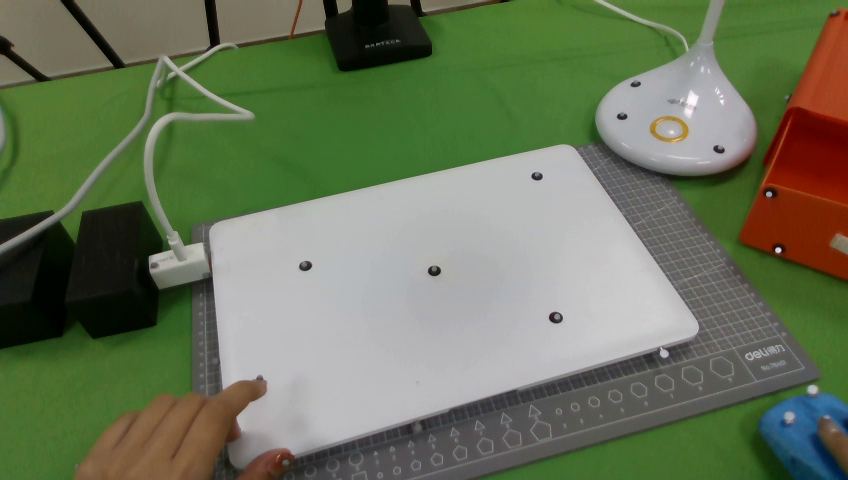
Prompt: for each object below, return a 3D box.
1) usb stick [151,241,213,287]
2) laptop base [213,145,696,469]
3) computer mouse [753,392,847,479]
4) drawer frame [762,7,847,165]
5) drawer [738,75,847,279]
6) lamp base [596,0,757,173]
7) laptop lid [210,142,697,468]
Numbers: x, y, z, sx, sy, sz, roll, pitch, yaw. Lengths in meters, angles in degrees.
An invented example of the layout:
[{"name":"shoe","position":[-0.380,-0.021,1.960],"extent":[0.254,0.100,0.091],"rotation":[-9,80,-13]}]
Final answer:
[{"name":"usb stick","position":[-0.196,0.018,0.512],"extent":[0.059,0.027,0.021],"rotation":[-14,48,-15]},{"name":"laptop base","position":[0.010,0.033,0.507],"extent":[0.355,0.023,0.233],"rotation":[-14,52,-10]},{"name":"computer mouse","position":[0.268,0.147,0.381],"extent":[0.063,0.041,0.116],"rotation":[-14,45,-9]},{"name":"drawer frame","position":[0.465,-0.124,0.584],"extent":[0.200,0.083,0.213],"rotation":[24,53,23]},{"name":"drawer","position":[0.406,-0.052,0.525],"extent":[0.193,0.074,0.211],"rotation":[23,53,23]},{"name":"lamp base","position":[0.261,-0.185,0.581],"extent":[0.160,0.182,0.178],"rotation":[16,47,17]},{"name":"laptop lid","position":[0.010,0.027,0.497],"extent":[0.357,0.013,0.239],"rotation":[-13,51,-8]}]
